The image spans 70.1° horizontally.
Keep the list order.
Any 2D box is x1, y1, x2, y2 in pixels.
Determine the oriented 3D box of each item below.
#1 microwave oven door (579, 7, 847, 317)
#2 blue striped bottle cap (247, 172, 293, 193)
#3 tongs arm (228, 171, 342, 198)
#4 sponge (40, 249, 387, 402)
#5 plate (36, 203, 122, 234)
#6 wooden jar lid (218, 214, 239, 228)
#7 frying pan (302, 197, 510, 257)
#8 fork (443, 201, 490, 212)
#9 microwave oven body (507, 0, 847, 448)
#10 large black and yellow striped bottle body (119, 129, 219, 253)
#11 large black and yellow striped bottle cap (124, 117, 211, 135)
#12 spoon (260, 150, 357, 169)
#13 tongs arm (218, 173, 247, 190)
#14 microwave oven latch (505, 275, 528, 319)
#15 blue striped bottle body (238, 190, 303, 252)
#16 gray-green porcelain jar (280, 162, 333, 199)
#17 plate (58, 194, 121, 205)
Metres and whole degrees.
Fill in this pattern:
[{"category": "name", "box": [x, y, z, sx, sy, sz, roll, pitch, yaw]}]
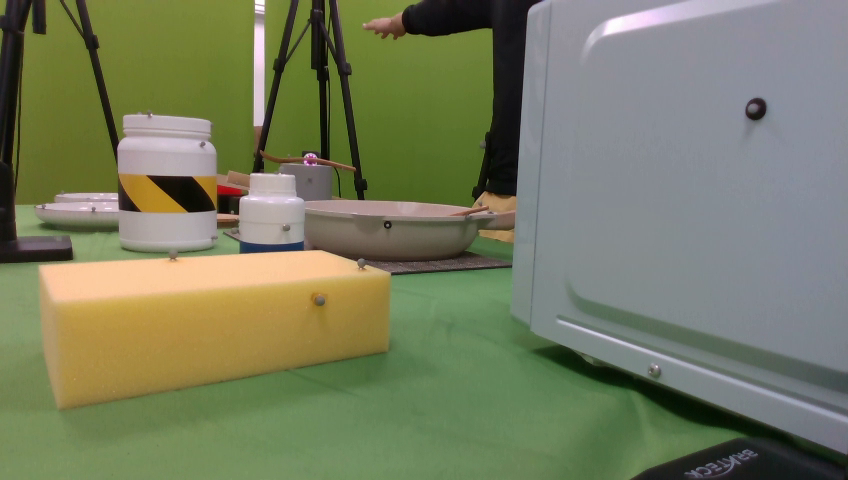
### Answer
[{"category": "microwave oven door", "box": [0.294, -0.066, 0.570, 0.358, 0.243, 0.039, -3, 9, -31]}, {"category": "blue striped bottle cap", "box": [-0.152, -0.057, 0.598, 0.044, 0.020, 0.044, 3, 6, 0]}, {"category": "tongs arm", "box": [-0.267, -0.103, 1.378, 0.387, 0.026, 0.050, 11, -3, -40]}, {"category": "sponge", "box": [-0.142, 0.047, 0.420, 0.208, 0.061, 0.117, -3, 8, -36]}, {"category": "plate", "box": [-0.571, -0.040, 1.083, 0.208, 0.039, 0.207, 2, 8, 0]}, {"category": "wooden jar lid", "box": [-0.404, -0.037, 1.169, 0.108, 0.020, 0.108, 3, 7, 0]}, {"category": "frying pan", "box": [0.051, -0.035, 0.915, 0.487, 0.102, 0.307, -5, 7, 10]}, {"category": "fork", "box": [-0.006, -0.020, 0.852, 0.207, 0.018, 0.028, -22, -3, 10]}, {"category": "microwave oven body", "box": [0.331, -0.042, 0.425, 0.444, 0.260, 0.324, -2, 8, -31]}, {"category": "large black and yellow striped bottle body", "box": [-0.367, -0.080, 0.876, 0.131, 0.184, 0.130, 2, 7, 0]}, {"category": "large black and yellow striped bottle cap", "box": [-0.366, -0.163, 0.866, 0.115, 0.019, 0.115, 3, 7, 0]}, {"category": "spoon", "box": [-0.231, -0.162, 1.221, 0.194, 0.021, 0.041, 3, 2, -16]}, {"category": "tongs arm", "box": [-0.315, -0.110, 1.448, 0.389, 0.027, 0.028, 11, -7, -26]}, {"category": "microwave oven latch", "box": [0.100, 0.042, 0.471, 0.079, 0.029, 0.030, -1, 7, -28]}, {"category": "blue striped bottle body", "box": [-0.153, -0.007, 0.606, 0.063, 0.120, 0.063, 2, 8, 0]}, {"category": "gray-green porcelain jar", "box": [-0.238, -0.092, 1.221, 0.106, 0.126, 0.106, 2, 7, 0]}, {"category": "plate", "box": [-0.671, -0.074, 1.310, 0.209, 0.038, 0.209, 2, 8, 0]}]
